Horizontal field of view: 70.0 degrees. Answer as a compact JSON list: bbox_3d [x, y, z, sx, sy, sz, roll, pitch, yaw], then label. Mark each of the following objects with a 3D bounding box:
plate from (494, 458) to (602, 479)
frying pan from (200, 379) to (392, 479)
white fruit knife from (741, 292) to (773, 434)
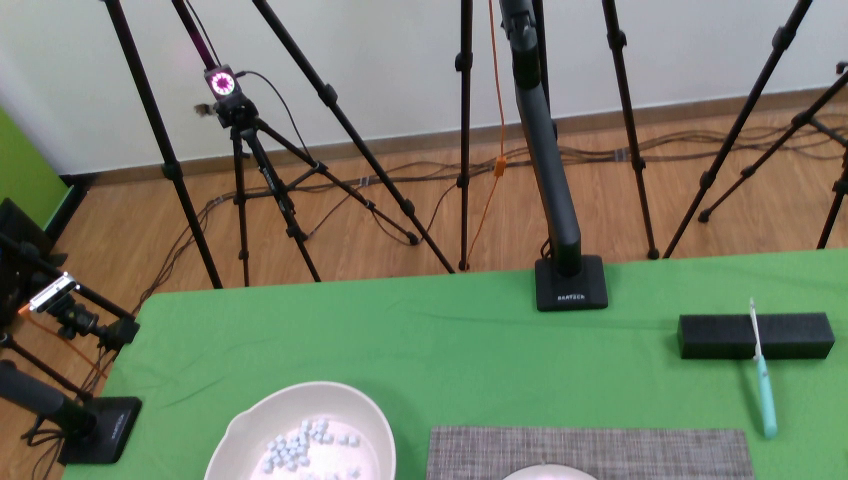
[{"bbox_3d":[0.164,0.391,0.786,0.207,0.039,0.205,-8,47,9],"label":"plate"},{"bbox_3d":[-0.249,0.409,0.842,0.304,0.104,0.487,25,51,33],"label":"frying pan"},{"bbox_3d":[0.477,0.172,0.875,0.016,0.028,0.205,-3,63,14],"label":"white fruit knife"}]
